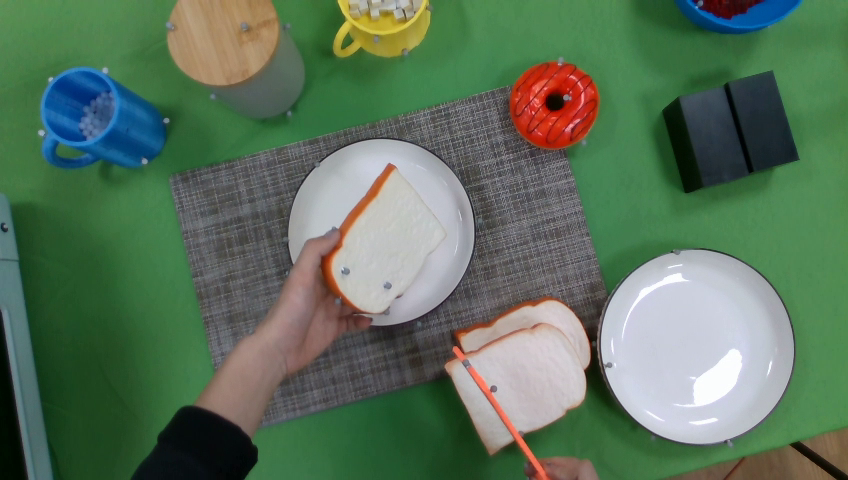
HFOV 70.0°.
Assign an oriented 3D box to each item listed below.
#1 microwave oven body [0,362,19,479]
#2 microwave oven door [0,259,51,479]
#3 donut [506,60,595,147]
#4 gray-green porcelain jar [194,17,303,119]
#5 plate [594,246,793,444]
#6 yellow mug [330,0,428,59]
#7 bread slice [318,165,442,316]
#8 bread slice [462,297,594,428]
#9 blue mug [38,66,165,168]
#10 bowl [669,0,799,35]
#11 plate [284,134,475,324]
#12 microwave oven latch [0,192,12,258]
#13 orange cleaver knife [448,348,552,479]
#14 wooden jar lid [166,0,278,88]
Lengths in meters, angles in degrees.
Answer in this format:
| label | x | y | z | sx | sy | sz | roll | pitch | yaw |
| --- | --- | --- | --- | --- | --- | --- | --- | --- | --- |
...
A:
| label | x | y | z | sx | sy | sz | roll | pitch | yaw |
| --- | --- | --- | --- | --- | --- | --- | --- | --- | --- |
| microwave oven body | -0.595 | 0.176 | 0.563 | 0.326 | 0.260 | 0.441 | -12 | 87 | 0 |
| microwave oven door | -0.443 | 0.188 | 0.553 | 0.039 | 0.244 | 0.355 | -12 | 86 | 1 |
| donut | 0.140 | -0.151 | 0.674 | 0.099 | 0.048 | 0.099 | 0 | 87 | 1 |
| gray-green porcelain jar | -0.191 | -0.192 | 0.648 | 0.106 | 0.126 | 0.105 | 0 | 86 | 2 |
| plate | 0.288 | 0.112 | 0.660 | 0.209 | 0.038 | 0.208 | 0 | 86 | 2 |
| yellow mug | -0.057 | -0.253 | 0.678 | 0.100 | 0.064 | 0.131 | 44 | 89 | 4 |
| bread slice | -0.041 | 0.010 | 0.588 | 0.131 | 0.019 | 0.106 | -55 | 130 | -20 |
| bread slice | 0.118 | 0.119 | 0.631 | 0.134 | 0.018 | 0.106 | -20 | 82 | -28 |
| blue mug | -0.357 | -0.119 | 0.657 | 0.116 | 0.106 | 0.082 | -40 | 85 | -1 |
| bowl | 0.328 | -0.288 | 0.664 | 0.151 | 0.077 | 0.151 | 0 | 87 | 2 |
| plate | -0.047 | -0.011 | 0.673 | 0.207 | 0.039 | 0.207 | 0 | 86 | 2 |
| microwave oven latch | -0.481 | -0.019 | 0.669 | 0.030 | 0.029 | 0.079 | -11 | 87 | 0 |
| orange cleaver knife | 0.086 | 0.188 | 0.564 | 0.012 | 0.077 | 0.212 | -36 | 102 | -7 |
| wooden jar lid | -0.193 | -0.198 | 0.586 | 0.108 | 0.021 | 0.108 | 0 | 84 | 3 |
